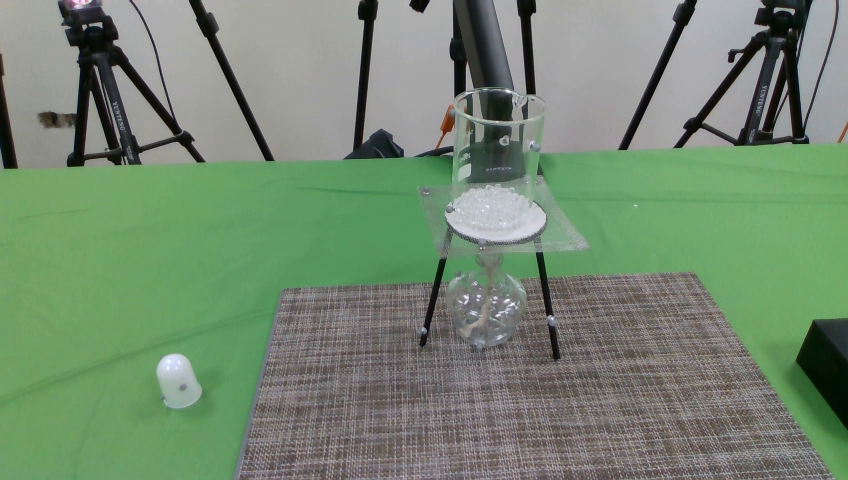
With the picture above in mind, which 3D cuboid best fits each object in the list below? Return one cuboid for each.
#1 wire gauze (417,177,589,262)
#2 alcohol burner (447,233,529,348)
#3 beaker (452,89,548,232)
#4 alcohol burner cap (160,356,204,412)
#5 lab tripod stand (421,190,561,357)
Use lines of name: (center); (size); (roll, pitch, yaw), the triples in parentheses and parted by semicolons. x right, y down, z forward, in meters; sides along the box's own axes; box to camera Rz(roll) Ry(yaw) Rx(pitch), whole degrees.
wire gauze: (0.063, -0.020, 0.520); (0.125, 0.011, 0.120); (-2, 36, -9)
alcohol burner: (0.060, 0.042, 0.564); (0.078, 0.120, 0.077); (0, 36, 0)
beaker: (0.060, -0.065, 0.499); (0.073, 0.101, 0.084); (19, 38, 24)
alcohol burner cap: (-0.212, 0.122, 0.525); (0.034, 0.048, 0.033); (0, 34, 1)
lab tripod stand: (0.068, 0.032, 0.561); (0.148, 0.132, 0.147); (1, 33, 0)
